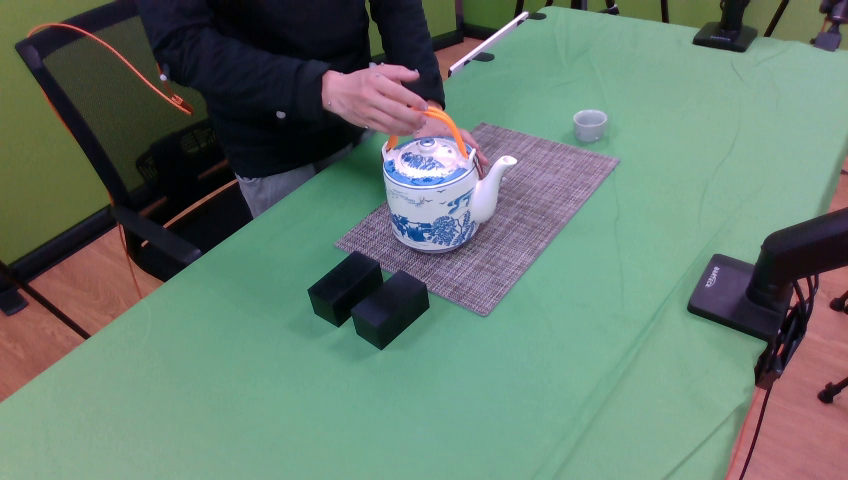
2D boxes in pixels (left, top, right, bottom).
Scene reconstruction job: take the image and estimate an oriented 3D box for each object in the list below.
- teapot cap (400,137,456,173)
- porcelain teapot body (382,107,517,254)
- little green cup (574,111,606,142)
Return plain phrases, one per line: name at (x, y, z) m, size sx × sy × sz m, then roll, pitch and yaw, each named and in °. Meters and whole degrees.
teapot cap at (0.006, -0.127, 0.893) m, size 0.085 × 0.044 × 0.084 m, roll -3°, pitch 43°, yaw 3°
porcelain teapot body at (0.038, -0.095, 0.912) m, size 0.205 × 0.226 × 0.145 m, roll 6°, pitch 42°, yaw 14°
little green cup at (0.318, -0.217, 1.164) m, size 0.061 × 0.039 × 0.061 m, roll -3°, pitch 41°, yaw 3°
